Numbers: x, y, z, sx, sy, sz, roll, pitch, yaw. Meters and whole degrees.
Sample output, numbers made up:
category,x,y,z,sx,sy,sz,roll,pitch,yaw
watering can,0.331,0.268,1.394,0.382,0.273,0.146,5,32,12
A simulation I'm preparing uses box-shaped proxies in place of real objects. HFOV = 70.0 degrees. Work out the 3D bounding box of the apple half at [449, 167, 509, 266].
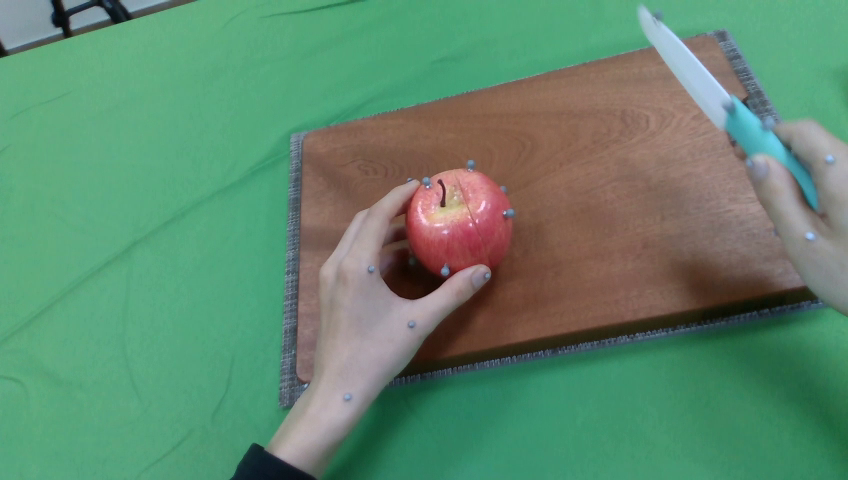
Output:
category,x,y,z,sx,sy,sz,roll,pitch,yaw
apple half,0.047,-0.021,0.456,0.033,0.082,0.080,-23,54,4

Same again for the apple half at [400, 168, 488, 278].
category,x,y,z,sx,sy,sz,roll,pitch,yaw
apple half,0.011,-0.007,0.457,0.053,0.075,0.080,-23,58,4

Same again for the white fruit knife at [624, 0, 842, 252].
category,x,y,z,sx,sy,sz,roll,pitch,yaw
white fruit knife,0.189,-0.082,0.384,0.016,0.027,0.206,-24,70,-23
